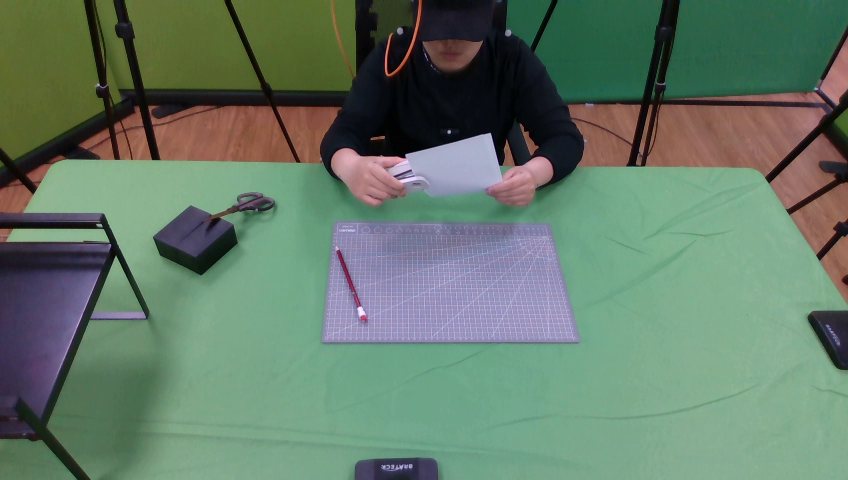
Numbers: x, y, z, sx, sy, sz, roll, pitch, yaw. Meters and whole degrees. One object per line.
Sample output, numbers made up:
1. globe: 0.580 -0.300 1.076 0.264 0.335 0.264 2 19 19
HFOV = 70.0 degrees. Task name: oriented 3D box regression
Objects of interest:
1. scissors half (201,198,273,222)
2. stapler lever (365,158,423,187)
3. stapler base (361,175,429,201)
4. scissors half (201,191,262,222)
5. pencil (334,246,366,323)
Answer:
1. scissors half: -0.365 -0.056 1.192 0.040 0.013 0.175 38 32 22
2. stapler lever: -0.056 -0.124 1.153 0.118 0.027 0.040 -11 63 25
3. stapler base: -0.055 -0.104 1.144 0.130 0.041 0.024 -13 62 24
4. scissors half: -0.381 -0.066 1.198 0.040 0.013 0.175 24 28 10
5. pencil: -0.140 0.077 1.116 0.012 0.012 0.192 -14 48 -17
